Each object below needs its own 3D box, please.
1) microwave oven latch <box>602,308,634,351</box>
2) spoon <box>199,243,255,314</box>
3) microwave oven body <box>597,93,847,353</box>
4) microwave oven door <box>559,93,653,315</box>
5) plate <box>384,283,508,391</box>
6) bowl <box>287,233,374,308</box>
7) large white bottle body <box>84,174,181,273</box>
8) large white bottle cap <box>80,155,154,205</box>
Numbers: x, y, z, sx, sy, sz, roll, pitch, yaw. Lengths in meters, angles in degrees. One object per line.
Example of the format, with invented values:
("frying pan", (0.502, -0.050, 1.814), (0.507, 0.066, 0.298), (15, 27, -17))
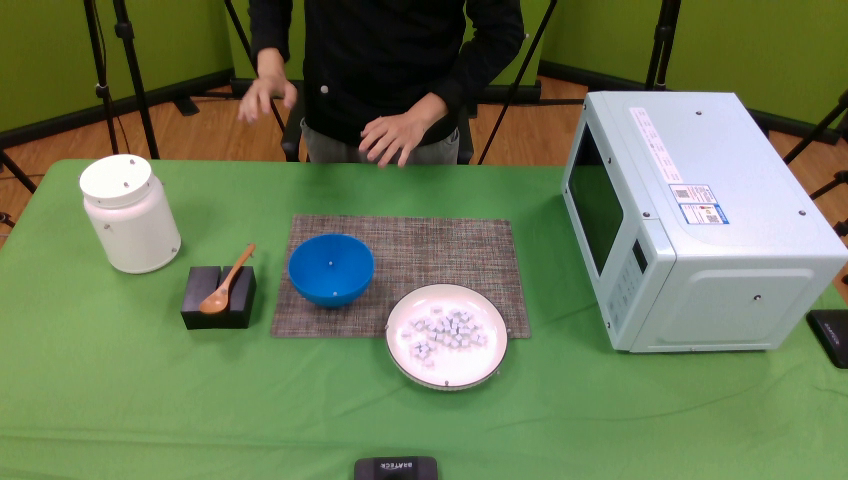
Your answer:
("microwave oven latch", (0.332, 0.153, 1.043), (0.030, 0.029, 0.078), (-1, 45, -4))
("spoon", (-0.333, 0.062, 1.051), (0.041, 0.022, 0.193), (6, 41, 9))
("microwave oven body", (0.475, -0.041, 1.109), (0.326, 0.261, 0.438), (-1, 45, -4))
("microwave oven door", (0.327, -0.074, 1.123), (0.039, 0.245, 0.353), (-1, 46, -5))
("plate", (0.036, 0.166, 1.029), (0.209, 0.038, 0.208), (2, 49, -2))
("bowl", (-0.165, 0.068, 1.078), (0.151, 0.077, 0.150), (3, 46, -3))
("large white bottle body", (-0.523, -0.045, 1.088), (0.131, 0.185, 0.130), (2, 46, -2))
("large white bottle cap", (-0.519, -0.103, 1.027), (0.115, 0.018, 0.114), (2, 46, -2))
